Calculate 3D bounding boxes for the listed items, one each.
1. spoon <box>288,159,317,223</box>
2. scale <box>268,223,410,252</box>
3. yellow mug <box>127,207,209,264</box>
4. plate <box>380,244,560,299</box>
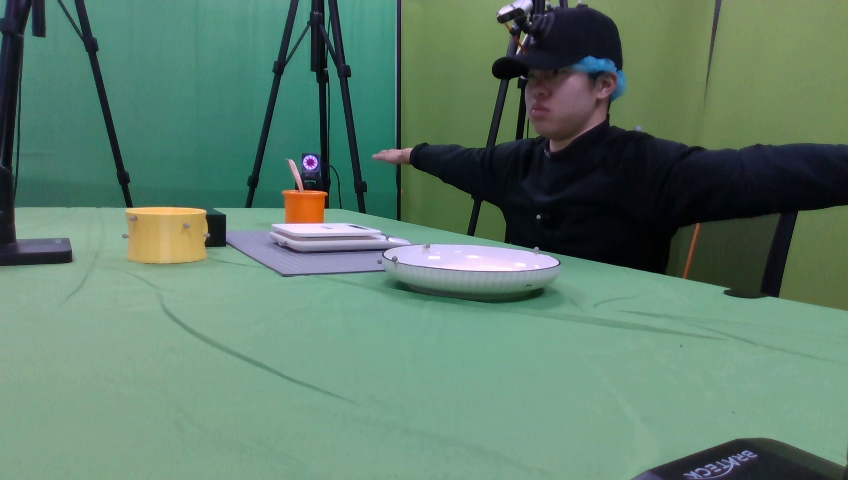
[{"bbox_3d":[-0.260,-0.103,1.268,0.042,0.193,0.021,3,-39,-33],"label":"spoon"},{"bbox_3d":[-0.137,-0.006,0.980,0.202,0.031,0.148,-1,8,-30],"label":"scale"},{"bbox_3d":[-0.339,-0.010,0.827,0.100,0.064,0.131,5,7,17],"label":"yellow mug"},{"bbox_3d":[0.053,0.036,0.708,0.209,0.038,0.209,2,7,0],"label":"plate"}]
